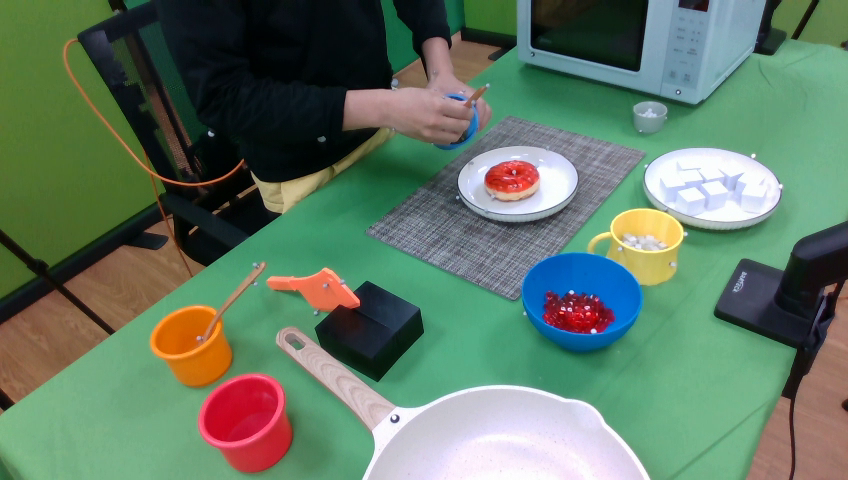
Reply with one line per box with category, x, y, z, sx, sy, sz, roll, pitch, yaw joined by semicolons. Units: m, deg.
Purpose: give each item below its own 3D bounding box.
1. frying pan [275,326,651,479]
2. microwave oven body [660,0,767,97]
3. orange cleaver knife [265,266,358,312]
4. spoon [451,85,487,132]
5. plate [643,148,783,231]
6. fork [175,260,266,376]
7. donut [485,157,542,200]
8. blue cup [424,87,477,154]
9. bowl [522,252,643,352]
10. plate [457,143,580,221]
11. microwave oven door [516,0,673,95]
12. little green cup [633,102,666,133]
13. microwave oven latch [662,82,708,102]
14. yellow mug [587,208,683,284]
frying pan;0.004;0.229;0.641;0.484;0.103;0.308;34;54;28
microwave oven body;0.474;-0.517;1.313;0.438;0.261;0.327;26;51;34
orange cleaver knife;-0.164;0.073;0.864;0.210;0.077;0.012;-6;30;50
spoon;0.059;-0.192;0.929;0.042;0.193;0.021;-22;80;-17
plate;0.464;-0.079;0.985;0.207;0.039;0.206;-4;40;4
fork;-0.268;0.102;0.792;0.207;0.019;0.028;-51;41;16
donut;0.153;-0.108;1.039;0.099;0.048;0.098;-6;37;5
blue cup;0.046;-0.189;1.012;0.092;0.100;0.092;-1;79;4
bowl;0.204;0.093;0.792;0.151;0.077;0.150;-4;40;4
plate;0.162;-0.097;1.042;0.209;0.038;0.208;-4;40;4
microwave oven door;0.344;-0.458;1.256;0.353;0.245;0.039;26;52;33
little green cup;0.434;-0.237;1.171;0.061;0.039;0.061;-5;40;5
microwave oven latch;0.518;-0.299;1.203;0.078;0.029;0.030;29;53;36
yellow mug;0.305;0.009;0.884;0.131;0.064;0.099;-4;41;5
